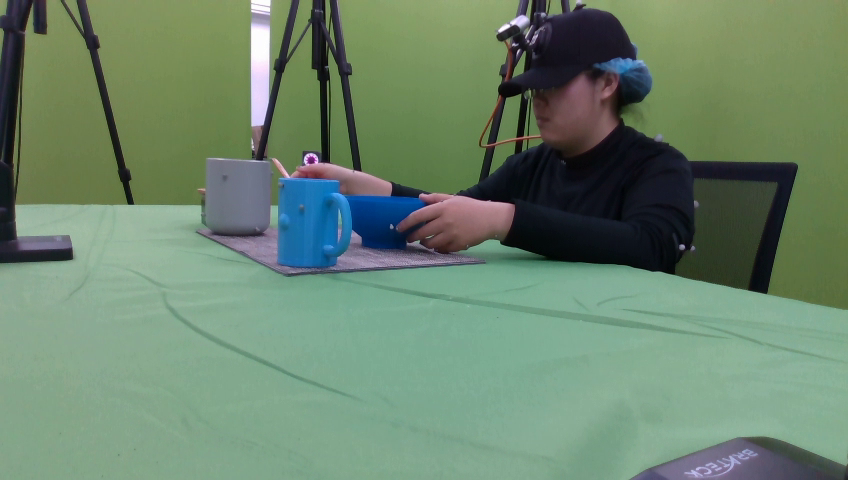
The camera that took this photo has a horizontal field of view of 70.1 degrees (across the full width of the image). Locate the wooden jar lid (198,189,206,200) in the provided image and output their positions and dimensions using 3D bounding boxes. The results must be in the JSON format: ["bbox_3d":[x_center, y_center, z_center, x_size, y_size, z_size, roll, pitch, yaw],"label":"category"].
[{"bbox_3d":[-0.382,-0.088,1.175,0.108,0.020,0.108,3,8,0],"label":"wooden jar lid"}]

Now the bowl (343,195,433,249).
[{"bbox_3d":[-0.063,-0.029,0.971,0.151,0.077,0.151,3,7,0],"label":"bowl"}]

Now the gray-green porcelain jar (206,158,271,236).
[{"bbox_3d":[-0.316,-0.074,1.031,0.106,0.126,0.106,3,7,0],"label":"gray-green porcelain jar"}]

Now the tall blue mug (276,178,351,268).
[{"bbox_3d":[-0.133,-0.022,0.767,0.107,0.108,0.078,4,6,12],"label":"tall blue mug"}]

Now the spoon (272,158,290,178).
[{"bbox_3d":[-0.268,-0.103,1.236,0.042,0.193,0.021,-10,-32,-39],"label":"spoon"}]
